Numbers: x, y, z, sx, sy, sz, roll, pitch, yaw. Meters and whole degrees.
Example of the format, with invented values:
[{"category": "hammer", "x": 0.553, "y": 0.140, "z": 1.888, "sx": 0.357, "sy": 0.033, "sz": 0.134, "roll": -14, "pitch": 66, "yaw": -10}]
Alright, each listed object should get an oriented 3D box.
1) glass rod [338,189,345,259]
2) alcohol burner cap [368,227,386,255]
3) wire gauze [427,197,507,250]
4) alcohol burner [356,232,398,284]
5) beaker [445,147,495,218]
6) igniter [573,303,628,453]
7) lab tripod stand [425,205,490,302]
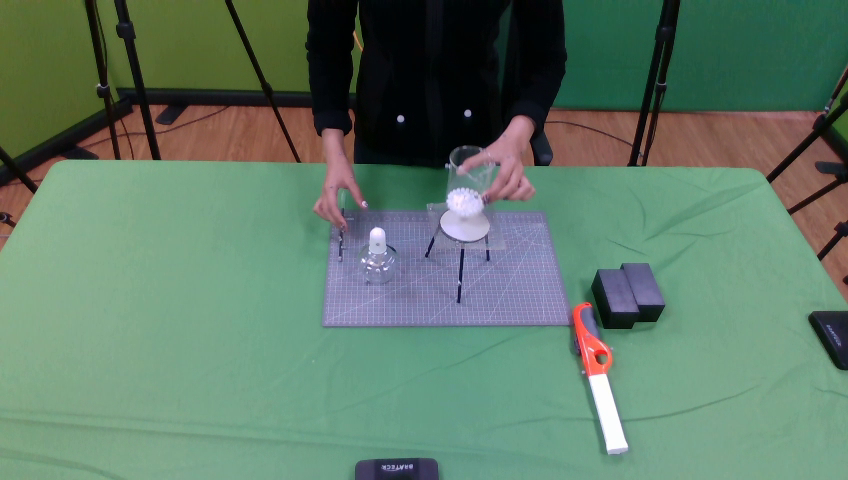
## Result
[{"category": "glass rod", "x": -0.166, "y": -0.036, "z": 1.227, "sx": 0.008, "sy": 0.008, "sz": 0.198, "roll": -1, "pitch": 46, "yaw": -4}, {"category": "alcohol burner cap", "x": -0.084, "y": -0.001, "z": 1.075, "sx": 0.034, "sy": 0.048, "sz": 0.033, "roll": 1, "pitch": 42, "yaw": 0}, {"category": "wire gauze", "x": 0.073, "y": -0.029, "z": 1.055, "sx": 0.125, "sy": 0.011, "sz": 0.120, "roll": -3, "pitch": 48, "yaw": -7}, {"category": "alcohol burner", "x": -0.085, "y": 0.024, "z": 1.102, "sx": 0.078, "sy": 0.119, "sz": 0.077, "roll": 3, "pitch": 48, "yaw": -3}, {"category": "beaker", "x": 0.074, "y": -0.091, "z": 1.009, "sx": 0.074, "sy": 0.101, "sz": 0.083, "roll": 0, "pitch": 44, "yaw": -6}, {"category": "igniter", "x": 0.288, "y": 0.217, "z": 1.006, "sx": 0.057, "sy": 0.025, "sz": 0.274, "roll": -10, "pitch": 46, "yaw": 8}, {"category": "lab tripod stand", "x": 0.069, "y": 0.017, "z": 1.106, "sx": 0.148, "sy": 0.132, "sz": 0.147, "roll": 3, "pitch": 47, "yaw": -3}]
